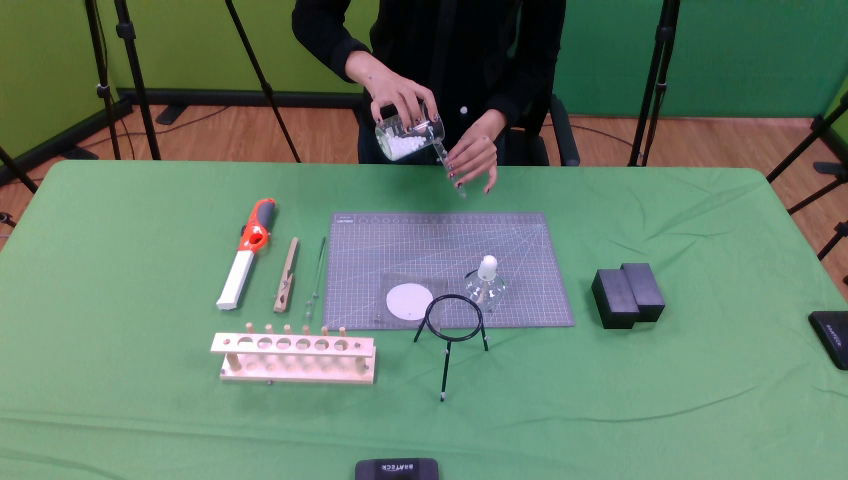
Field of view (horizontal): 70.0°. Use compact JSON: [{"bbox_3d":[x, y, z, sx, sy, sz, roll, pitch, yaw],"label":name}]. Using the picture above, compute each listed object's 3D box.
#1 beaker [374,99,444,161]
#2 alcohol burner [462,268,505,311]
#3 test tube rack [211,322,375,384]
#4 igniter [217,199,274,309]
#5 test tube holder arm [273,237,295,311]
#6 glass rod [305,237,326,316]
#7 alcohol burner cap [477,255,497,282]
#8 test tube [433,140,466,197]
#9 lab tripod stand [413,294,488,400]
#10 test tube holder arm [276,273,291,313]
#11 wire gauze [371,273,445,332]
[{"bbox_3d":[-0.027,-0.183,1.031,0.100,0.084,0.073,-27,44,-14],"label":"beaker"},{"bbox_3d":[0.108,0.071,1.072,0.078,0.119,0.077,4,45,-4],"label":"alcohol burner"},{"bbox_3d":[-0.202,0.176,0.969,0.242,0.085,0.066,3,46,-2],"label":"test tube rack"},{"bbox_3d":[-0.336,0.017,1.153,0.057,0.025,0.275,-2,45,8],"label":"igniter"},{"bbox_3d":[-0.259,0.059,1.123,0.013,0.015,0.177,28,38,-26],"label":"test tube holder arm"},{"bbox_3d":[-0.202,0.063,1.131,0.008,0.008,0.198,4,44,0],"label":"glass rod"},{"bbox_3d":[0.110,0.047,1.046,0.034,0.048,0.033,2,52,-2],"label":"alcohol burner cap"},{"bbox_3d":[0.049,-0.129,1.125,0.017,0.151,0.017,-14,50,17],"label":"test tube"},{"bbox_3d":[0.045,0.159,0.972,0.148,0.132,0.147,3,44,-2],"label":"lab tripod stand"},{"bbox_3d":[-0.254,0.093,1.094,0.010,0.015,0.087,28,38,-26],"label":"test tube holder arm"},{"bbox_3d":[-0.028,0.109,1.099,0.125,0.011,0.121,7,45,4],"label":"wire gauze"}]
